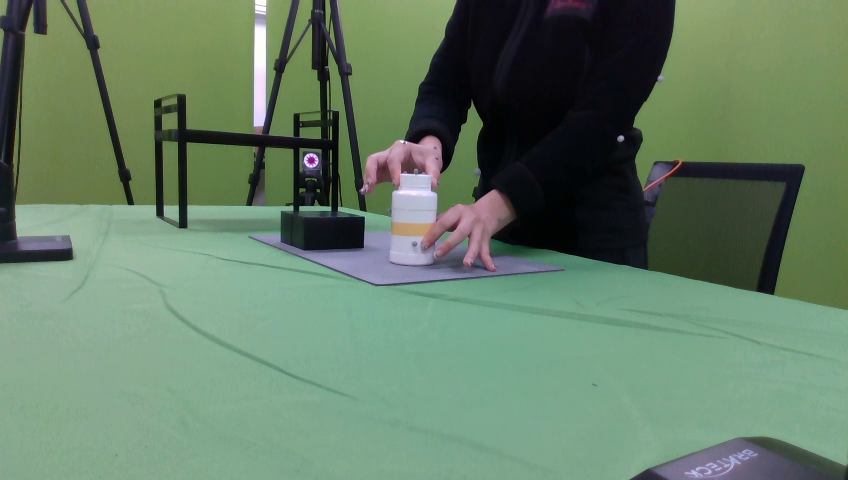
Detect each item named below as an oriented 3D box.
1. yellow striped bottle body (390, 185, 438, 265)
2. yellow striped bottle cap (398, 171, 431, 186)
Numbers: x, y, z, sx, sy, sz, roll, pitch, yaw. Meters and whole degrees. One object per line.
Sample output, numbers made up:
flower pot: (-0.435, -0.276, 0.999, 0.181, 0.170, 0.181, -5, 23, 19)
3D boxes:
yellow striped bottle body: (-0.013, -0.030, 0.816, 0.063, 0.120, 0.063, 2, 7, 0)
yellow striped bottle cap: (-0.012, -0.082, 0.809, 0.044, 0.018, 0.044, 2, 10, 0)
